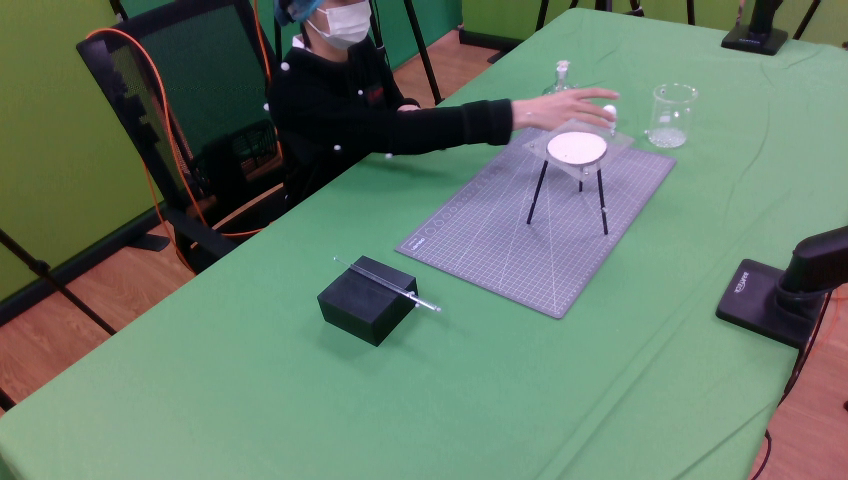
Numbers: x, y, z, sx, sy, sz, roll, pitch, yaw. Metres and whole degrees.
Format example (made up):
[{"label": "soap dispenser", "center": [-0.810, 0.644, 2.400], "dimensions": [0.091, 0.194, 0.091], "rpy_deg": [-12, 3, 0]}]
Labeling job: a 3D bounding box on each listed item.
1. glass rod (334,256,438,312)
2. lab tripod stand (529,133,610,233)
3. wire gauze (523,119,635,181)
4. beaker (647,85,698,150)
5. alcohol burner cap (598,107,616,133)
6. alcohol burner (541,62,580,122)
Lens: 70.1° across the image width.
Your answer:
[{"label": "glass rod", "center": [-0.058, 0.060, 0.850], "dimensions": [0.198, 0.008, 0.008], "rpy_deg": [24, 49, 33]}, {"label": "lab tripod stand", "center": [0.236, -0.089, 0.953], "dimensions": [0.148, 0.132, 0.147], "rpy_deg": [-5, 42, 5]}, {"label": "wire gauze", "center": [0.233, -0.143, 0.913], "dimensions": [0.122, 0.011, 0.124], "rpy_deg": [-32, 45, -25]}, {"label": "beaker", "center": [0.454, -0.223, 1.110], "dimensions": [0.084, 0.101, 0.073], "rpy_deg": [-10, 40, -4]}, {"label": "alcohol burner cap", "center": [0.361, -0.239, 1.189], "dimensions": [0.034, 0.048, 0.033], "rpy_deg": [-4, 40, 3]}, {"label": "alcohol burner", "center": [0.276, -0.302, 1.222], "dimensions": [0.078, 0.119, 0.077], "rpy_deg": [-4, 38, 4]}]
